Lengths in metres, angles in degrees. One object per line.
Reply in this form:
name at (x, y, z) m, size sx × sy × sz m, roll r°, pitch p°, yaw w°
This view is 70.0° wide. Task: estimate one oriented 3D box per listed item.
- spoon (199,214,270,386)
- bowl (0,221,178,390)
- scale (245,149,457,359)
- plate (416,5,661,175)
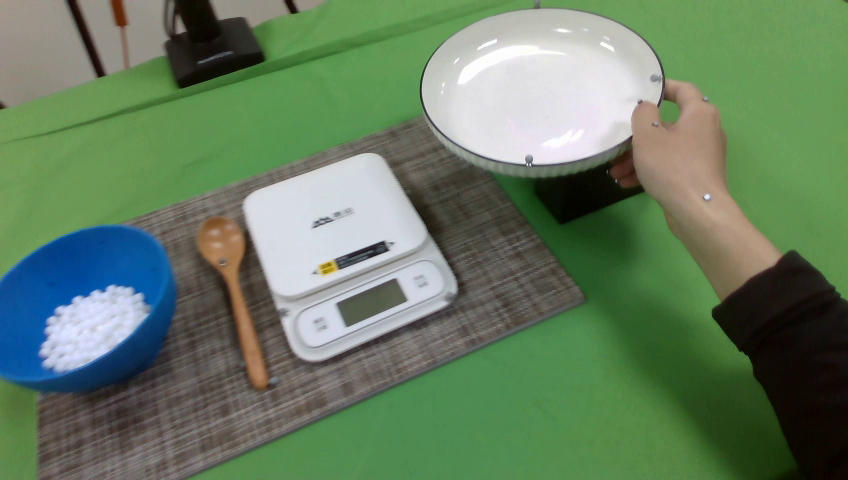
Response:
spoon at (-0.166, 0.047, 0.536) m, size 0.042 × 0.022 × 0.191 m, roll -11°, pitch 47°, yaw -21°
bowl at (-0.267, 0.065, 0.497) m, size 0.151 × 0.077 × 0.150 m, roll -4°, pitch 49°, yaw 5°
scale at (-0.073, 0.002, 0.554) m, size 0.149 × 0.032 × 0.198 m, roll -23°, pitch 51°, yaw -10°
plate at (0.097, -0.131, 0.534) m, size 0.209 × 0.038 × 0.207 m, roll -4°, pitch 54°, yaw 5°
